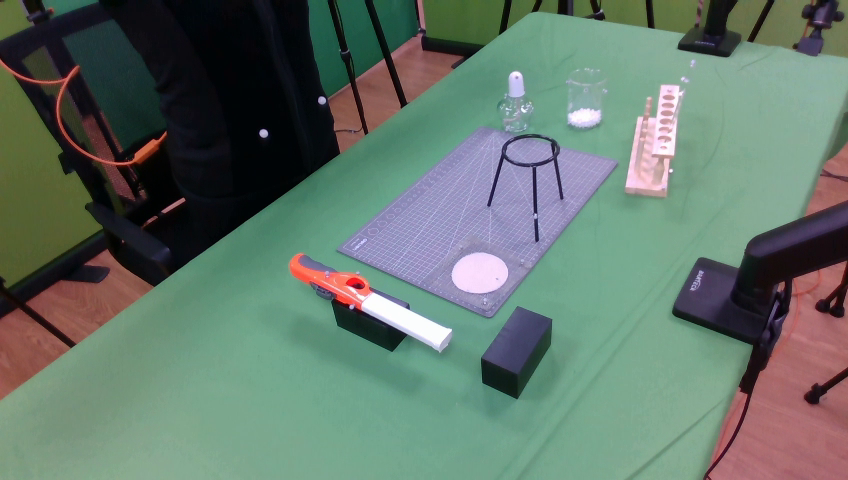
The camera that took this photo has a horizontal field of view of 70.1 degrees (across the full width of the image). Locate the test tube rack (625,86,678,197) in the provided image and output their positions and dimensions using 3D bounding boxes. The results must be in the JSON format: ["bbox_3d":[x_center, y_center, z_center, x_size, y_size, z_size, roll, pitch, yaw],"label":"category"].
[{"bbox_3d":[0.412,-0.184,1.088,0.066,0.085,0.242,9,43,18],"label":"test tube rack"}]

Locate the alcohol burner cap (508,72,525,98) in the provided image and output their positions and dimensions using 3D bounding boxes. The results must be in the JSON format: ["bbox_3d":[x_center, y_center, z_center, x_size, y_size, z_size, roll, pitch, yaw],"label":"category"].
[{"bbox_3d":[0.181,-0.306,1.186,0.034,0.048,0.033,-7,39,6],"label":"alcohol burner cap"}]

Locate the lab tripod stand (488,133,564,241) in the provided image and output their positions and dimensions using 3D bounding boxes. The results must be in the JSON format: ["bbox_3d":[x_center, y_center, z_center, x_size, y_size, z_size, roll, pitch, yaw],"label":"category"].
[{"bbox_3d":[0.168,-0.093,0.972,0.148,0.132,0.147,-5,41,5],"label":"lab tripod stand"}]

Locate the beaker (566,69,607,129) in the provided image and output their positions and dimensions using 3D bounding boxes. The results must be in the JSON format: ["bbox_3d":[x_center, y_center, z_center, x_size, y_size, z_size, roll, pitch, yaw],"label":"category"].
[{"bbox_3d":[0.321,-0.279,1.202,0.073,0.101,0.084,11,43,20],"label":"beaker"}]

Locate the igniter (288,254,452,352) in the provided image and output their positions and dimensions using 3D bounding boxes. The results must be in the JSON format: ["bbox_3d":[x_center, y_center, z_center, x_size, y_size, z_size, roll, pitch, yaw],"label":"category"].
[{"bbox_3d":[-0.083,0.079,0.818,0.274,0.025,0.057,23,46,27],"label":"igniter"}]

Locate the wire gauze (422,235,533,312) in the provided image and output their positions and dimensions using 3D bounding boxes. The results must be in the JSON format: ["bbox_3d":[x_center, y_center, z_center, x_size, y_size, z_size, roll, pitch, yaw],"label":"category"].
[{"bbox_3d":[0.081,0.049,0.914,0.120,0.011,0.125,26,52,32],"label":"wire gauze"}]

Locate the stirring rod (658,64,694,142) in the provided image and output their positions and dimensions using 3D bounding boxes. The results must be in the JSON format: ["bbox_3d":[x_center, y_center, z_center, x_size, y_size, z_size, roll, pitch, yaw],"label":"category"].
[{"bbox_3d":[0.409,-0.213,1.000,0.006,0.176,0.014,36,57,25],"label":"stirring rod"}]

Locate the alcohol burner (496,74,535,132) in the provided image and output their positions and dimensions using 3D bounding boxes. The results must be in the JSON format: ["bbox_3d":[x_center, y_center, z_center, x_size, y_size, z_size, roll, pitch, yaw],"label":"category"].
[{"bbox_3d":[0.183,-0.278,1.209,0.078,0.119,0.077,-3,43,4],"label":"alcohol burner"}]
